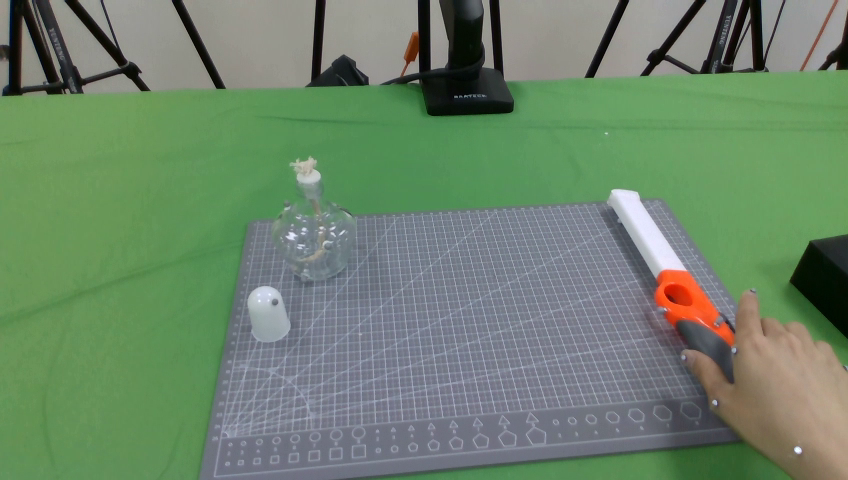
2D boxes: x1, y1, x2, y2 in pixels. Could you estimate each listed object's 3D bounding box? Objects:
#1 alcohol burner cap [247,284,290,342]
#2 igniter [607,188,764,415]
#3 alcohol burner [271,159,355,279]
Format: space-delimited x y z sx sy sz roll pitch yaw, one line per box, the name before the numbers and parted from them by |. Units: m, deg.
alcohol burner cap | -0.130 0.057 0.504 0.034 0.048 0.033 1 40 -1
igniter | 0.226 0.039 0.547 0.057 0.025 0.273 5 39 -12
alcohol burner | -0.101 -0.023 0.546 0.078 0.120 0.077 2 41 -1
